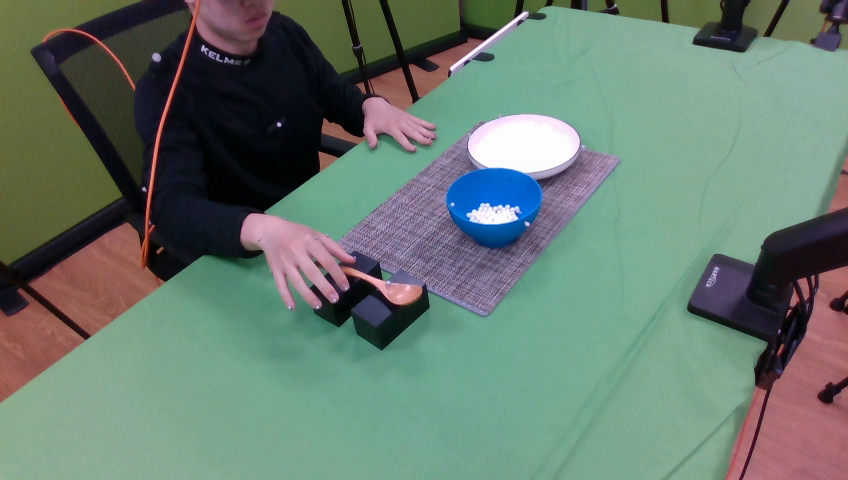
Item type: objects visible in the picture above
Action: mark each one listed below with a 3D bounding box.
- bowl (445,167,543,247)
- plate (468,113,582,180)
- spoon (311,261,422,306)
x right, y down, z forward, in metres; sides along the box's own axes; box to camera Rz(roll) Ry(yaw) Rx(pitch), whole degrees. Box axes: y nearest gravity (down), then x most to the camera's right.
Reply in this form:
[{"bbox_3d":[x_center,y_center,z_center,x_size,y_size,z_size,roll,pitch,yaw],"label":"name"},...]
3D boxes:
[{"bbox_3d":[0.111,-0.042,0.952,0.151,0.077,0.150,-4,41,4],"label":"bowl"},{"bbox_3d":[0.186,-0.169,1.122,0.207,0.039,0.206,-4,40,4],"label":"plate"},{"bbox_3d":[-0.084,0.055,0.842,0.192,0.022,0.042,19,47,29],"label":"spoon"}]
